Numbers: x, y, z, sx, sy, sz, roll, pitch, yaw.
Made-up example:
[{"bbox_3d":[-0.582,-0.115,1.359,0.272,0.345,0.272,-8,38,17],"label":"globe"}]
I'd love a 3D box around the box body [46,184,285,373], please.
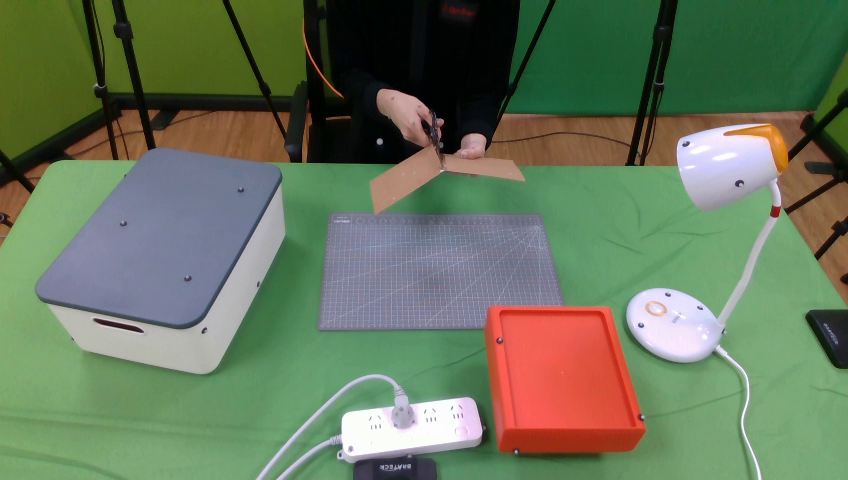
[{"bbox_3d":[-0.414,0.029,1.040,0.254,0.161,0.362,10,46,5],"label":"box body"}]

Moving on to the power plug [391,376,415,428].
[{"bbox_3d":[-0.031,0.249,0.917,0.035,0.053,0.072,3,46,-1],"label":"power plug"}]

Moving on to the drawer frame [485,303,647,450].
[{"bbox_3d":[0.204,0.202,0.917,0.202,0.083,0.212,1,47,-4],"label":"drawer frame"}]

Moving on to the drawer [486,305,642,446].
[{"bbox_3d":[0.202,0.200,0.918,0.195,0.073,0.210,2,47,-4],"label":"drawer"}]

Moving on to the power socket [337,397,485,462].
[{"bbox_3d":[-0.018,0.285,0.915,0.227,0.033,0.071,-4,46,-8],"label":"power socket"}]

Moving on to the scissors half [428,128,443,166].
[{"bbox_3d":[0.021,-0.158,1.055,0.013,0.040,0.174,-1,24,-6],"label":"scissors half"}]

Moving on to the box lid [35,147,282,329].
[{"bbox_3d":[-0.411,-0.023,0.987,0.263,0.015,0.369,10,47,5],"label":"box lid"}]

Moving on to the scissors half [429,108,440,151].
[{"bbox_3d":[0.021,-0.175,1.043,0.013,0.040,0.174,-5,45,-3],"label":"scissors half"}]

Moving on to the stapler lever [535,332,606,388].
[{"bbox_3d":[0.225,0.182,0.929,0.118,0.040,0.027,26,34,15],"label":"stapler lever"}]

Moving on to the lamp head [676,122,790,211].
[{"bbox_3d":[0.423,-0.104,0.819,0.122,0.113,0.112,-13,33,40],"label":"lamp head"}]

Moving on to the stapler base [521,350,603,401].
[{"bbox_3d":[0.217,0.203,0.942,0.130,0.024,0.041,26,34,16],"label":"stapler base"}]

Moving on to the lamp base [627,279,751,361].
[{"bbox_3d":[0.460,0.100,1.027,0.178,0.181,0.160,27,51,17],"label":"lamp base"}]

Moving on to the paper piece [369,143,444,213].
[{"bbox_3d":[-0.033,-0.109,1.029,0.135,0.004,0.135,-30,30,8],"label":"paper piece"}]

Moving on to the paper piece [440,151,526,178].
[{"bbox_3d":[0.096,-0.130,1.028,0.136,0.008,0.137,9,20,-5],"label":"paper piece"}]
